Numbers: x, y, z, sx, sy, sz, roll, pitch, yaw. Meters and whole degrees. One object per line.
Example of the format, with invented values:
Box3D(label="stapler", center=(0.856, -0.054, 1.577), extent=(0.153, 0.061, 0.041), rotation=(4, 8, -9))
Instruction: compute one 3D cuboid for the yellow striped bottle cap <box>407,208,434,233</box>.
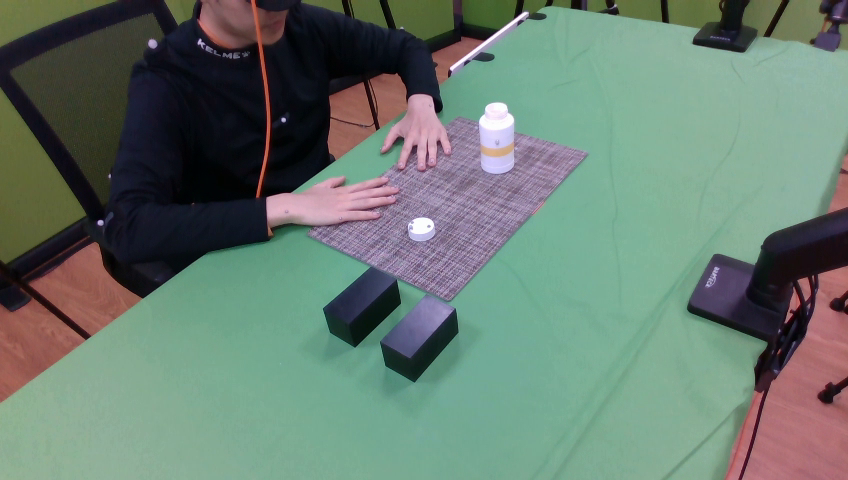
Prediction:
Box3D(label="yellow striped bottle cap", center=(-0.006, -0.032, 0.972), extent=(0.044, 0.019, 0.044), rotation=(2, 44, -2))

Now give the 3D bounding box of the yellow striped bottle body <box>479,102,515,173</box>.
Box3D(label="yellow striped bottle body", center=(0.131, -0.186, 1.083), extent=(0.063, 0.121, 0.062), rotation=(-4, 41, 4))
